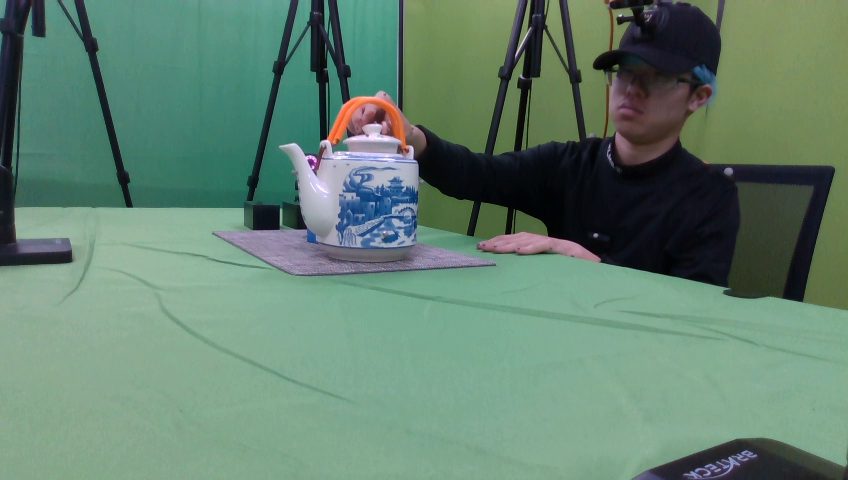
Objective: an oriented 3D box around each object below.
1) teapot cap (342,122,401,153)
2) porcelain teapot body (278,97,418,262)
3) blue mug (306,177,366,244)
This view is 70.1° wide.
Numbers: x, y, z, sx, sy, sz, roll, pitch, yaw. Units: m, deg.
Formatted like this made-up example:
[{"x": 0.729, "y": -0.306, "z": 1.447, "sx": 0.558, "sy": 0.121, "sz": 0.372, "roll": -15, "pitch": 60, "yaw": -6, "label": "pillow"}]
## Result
[{"x": -0.075, "y": -0.146, "z": 0.863, "sx": 0.085, "sy": 0.044, "sz": 0.085, "roll": -2, "pitch": 5, "yaw": 0, "label": "teapot cap"}, {"x": -0.104, "y": -0.086, "z": 0.842, "sx": 0.206, "sy": 0.225, "sz": 0.144, "roll": -4, "pitch": 10, "yaw": -38, "label": "porcelain teapot body"}, {"x": -0.144, "y": -0.052, "z": 1.027, "sx": 0.082, "sy": 0.106, "sz": 0.117, "roll": 9, "pitch": 10, "yaw": 42, "label": "blue mug"}]
